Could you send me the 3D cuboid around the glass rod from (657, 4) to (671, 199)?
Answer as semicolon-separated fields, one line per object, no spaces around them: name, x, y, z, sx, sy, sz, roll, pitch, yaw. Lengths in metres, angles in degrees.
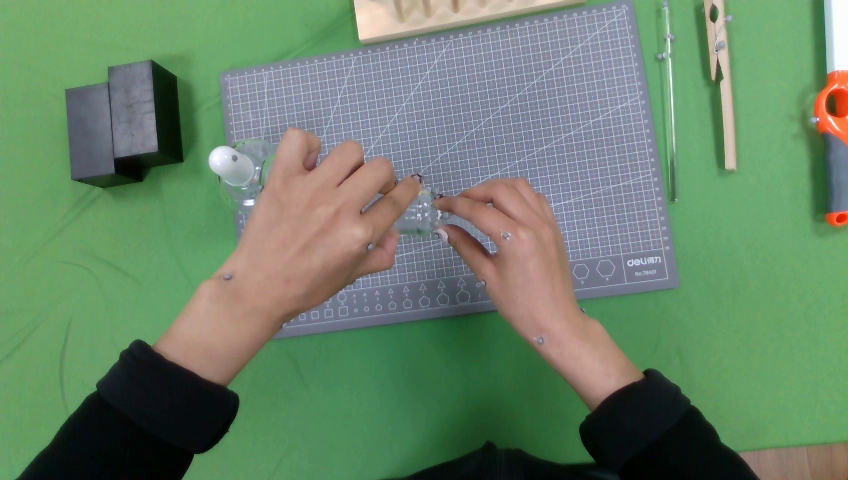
glass rod;0.244;-0.140;0.615;0.008;0.008;0.199;-1;88;7

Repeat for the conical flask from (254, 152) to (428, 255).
conical flask;-0.058;-0.024;0.447;0.122;0.075;0.075;3;86;-6

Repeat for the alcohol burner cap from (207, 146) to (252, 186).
alcohol burner cap;-0.185;-0.072;0.570;0.034;0.048;0.033;-1;81;4

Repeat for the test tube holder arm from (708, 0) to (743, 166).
test tube holder arm;0.299;-0.162;0.603;0.013;0.015;0.178;-13;82;45

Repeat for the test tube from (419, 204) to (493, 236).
test tube;0.032;-0.016;0.536;0.017;0.151;0.017;-1;86;24

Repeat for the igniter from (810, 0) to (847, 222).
igniter;0.403;-0.155;0.587;0.057;0.025;0.276;1;86;-3

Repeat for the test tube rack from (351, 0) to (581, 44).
test tube rack;0.037;-0.268;0.611;0.242;0.085;0.066;-9;85;6

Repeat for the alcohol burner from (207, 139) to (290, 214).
alcohol burner;-0.180;-0.067;0.606;0.078;0.119;0.077;-1;85;9

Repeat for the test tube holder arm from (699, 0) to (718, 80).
test tube holder arm;0.289;-0.206;0.611;0.010;0.015;0.087;-10;84;45
